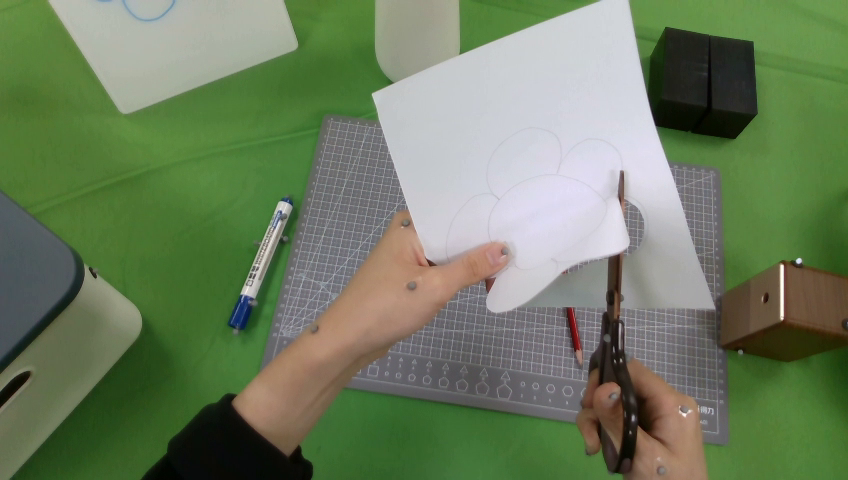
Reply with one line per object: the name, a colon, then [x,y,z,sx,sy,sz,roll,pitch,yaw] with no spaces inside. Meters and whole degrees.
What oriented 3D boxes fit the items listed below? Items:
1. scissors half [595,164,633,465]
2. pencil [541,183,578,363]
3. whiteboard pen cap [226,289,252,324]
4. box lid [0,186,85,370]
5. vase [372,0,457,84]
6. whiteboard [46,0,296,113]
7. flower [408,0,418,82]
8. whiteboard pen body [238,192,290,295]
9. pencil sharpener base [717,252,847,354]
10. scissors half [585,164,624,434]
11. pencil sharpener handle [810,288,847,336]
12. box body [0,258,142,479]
scissors half: [0.111,0.044,0.351,0.013,0.040,0.175,1,88,-2]
pencil: [0.141,0.030,0.625,0.012,0.012,0.192,-5,71,-3]
whiteboard pen cap: [-0.181,0.065,0.597,0.018,0.018,0.033,14,65,4]
box lid: [-0.472,0.014,0.454,0.370,0.015,0.262,34,71,11]
vase: [-0.011,-0.255,0.632,0.098,0.201,0.097,0,67,0]
whiteboard: [-0.297,-0.330,0.628,0.217,0.308,0.142,-25,52,-10]
flower: [-0.015,-0.299,0.559,0.044,0.365,0.038,1,51,3]
whiteboard pen body: [-0.167,0.013,0.620,0.017,0.017,0.140,14,67,5]
pencil sharpener base: [0.336,0.063,0.566,0.077,0.107,0.061,12,68,0]
scissors half: [0.112,0.040,0.372,0.013,0.040,0.176,2,111,3]
pencil sharpener handle: [0.386,0.071,0.554,0.030,0.068,0.035,12,62,0]
box body: [-0.472,0.043,0.523,0.362,0.161,0.253,34,72,11]
